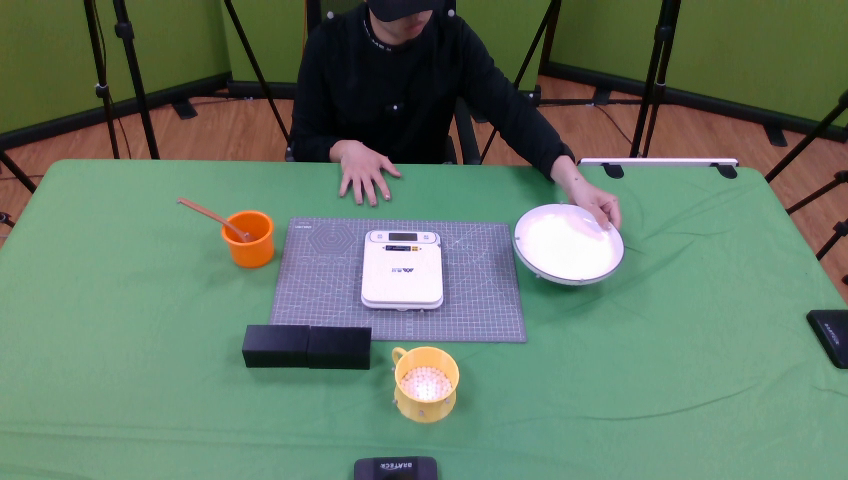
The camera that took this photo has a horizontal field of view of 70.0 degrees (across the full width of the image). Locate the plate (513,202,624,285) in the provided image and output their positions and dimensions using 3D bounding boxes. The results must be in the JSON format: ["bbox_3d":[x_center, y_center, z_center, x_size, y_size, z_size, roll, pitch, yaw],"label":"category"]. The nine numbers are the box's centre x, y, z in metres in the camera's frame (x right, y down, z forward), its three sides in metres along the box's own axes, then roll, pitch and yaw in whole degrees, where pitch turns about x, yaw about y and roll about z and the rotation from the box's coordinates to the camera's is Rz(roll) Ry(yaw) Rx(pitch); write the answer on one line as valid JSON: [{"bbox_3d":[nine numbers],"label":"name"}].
[{"bbox_3d":[0.270,0.010,1.149,0.209,0.038,0.208,1,45,-1],"label":"plate"}]

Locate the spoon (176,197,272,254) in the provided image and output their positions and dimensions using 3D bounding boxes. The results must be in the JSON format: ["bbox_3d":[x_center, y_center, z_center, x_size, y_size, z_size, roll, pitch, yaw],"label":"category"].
[{"bbox_3d":[-0.362,-0.028,1.108,0.021,0.195,0.041,-35,36,24],"label":"spoon"}]

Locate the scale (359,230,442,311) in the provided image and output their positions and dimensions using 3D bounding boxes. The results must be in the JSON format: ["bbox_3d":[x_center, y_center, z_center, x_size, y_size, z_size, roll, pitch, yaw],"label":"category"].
[{"bbox_3d":[-0.043,0.048,1.138,0.149,0.032,0.199,2,46,-3],"label":"scale"}]

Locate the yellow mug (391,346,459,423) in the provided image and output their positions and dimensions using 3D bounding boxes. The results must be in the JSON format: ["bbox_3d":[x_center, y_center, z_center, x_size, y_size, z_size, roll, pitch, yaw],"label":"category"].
[{"bbox_3d":[-0.009,0.217,0.958,0.100,0.064,0.130,-33,56,-31],"label":"yellow mug"}]
